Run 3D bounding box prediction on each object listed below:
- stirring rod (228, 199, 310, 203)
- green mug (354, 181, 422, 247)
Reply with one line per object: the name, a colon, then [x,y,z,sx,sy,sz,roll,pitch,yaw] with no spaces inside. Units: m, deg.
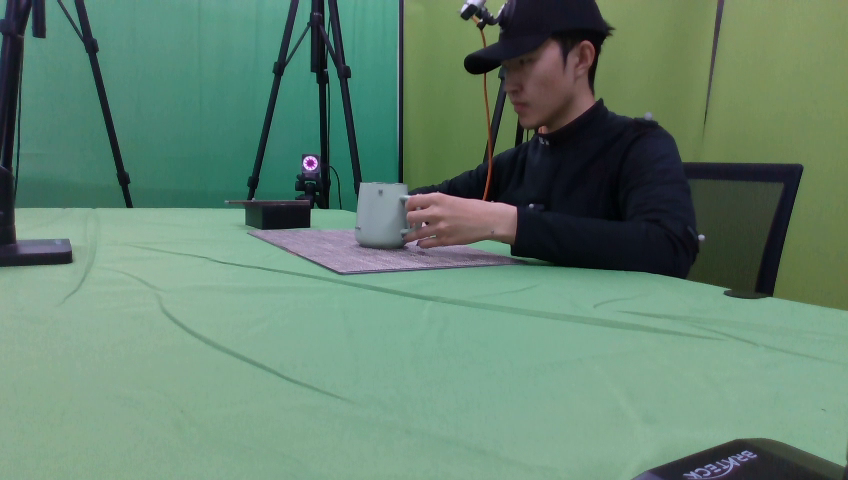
stirring rod: [-0.314,-0.081,1.239,0.177,0.006,0.014,-5,10,-40]
green mug: [-0.055,-0.042,0.988,0.125,0.105,0.093,7,8,36]
